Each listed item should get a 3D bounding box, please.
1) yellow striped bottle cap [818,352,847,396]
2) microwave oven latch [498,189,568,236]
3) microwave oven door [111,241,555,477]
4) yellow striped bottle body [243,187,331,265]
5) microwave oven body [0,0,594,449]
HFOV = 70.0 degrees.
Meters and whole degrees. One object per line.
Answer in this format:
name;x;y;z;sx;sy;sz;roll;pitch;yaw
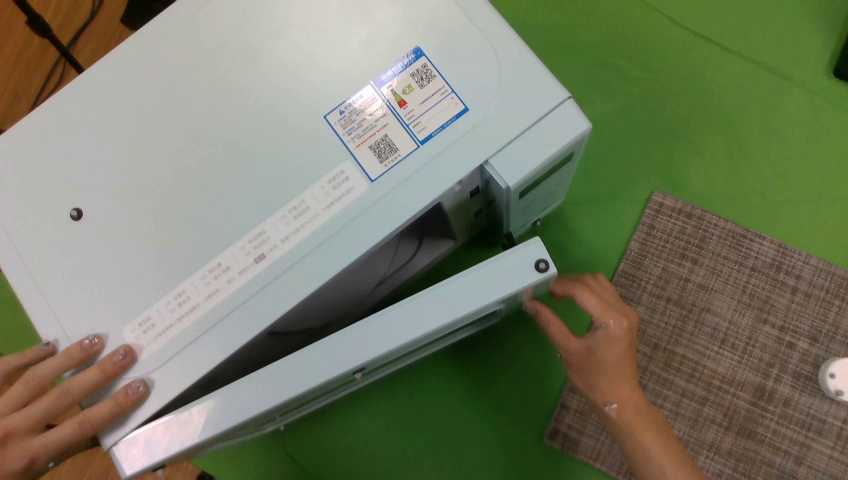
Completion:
yellow striped bottle cap;0.428;0.136;0.615;0.044;0.019;0.044;-1;80;9
microwave oven latch;0.118;-0.038;0.657;0.079;0.029;0.030;-35;79;1
microwave oven door;-0.054;0.104;0.552;0.356;0.245;0.039;-26;77;2
yellow striped bottle body;-0.135;-0.014;0.593;0.063;0.121;0.062;-1;81;4
microwave oven body;-0.124;-0.062;0.592;0.441;0.261;0.324;-38;79;1
